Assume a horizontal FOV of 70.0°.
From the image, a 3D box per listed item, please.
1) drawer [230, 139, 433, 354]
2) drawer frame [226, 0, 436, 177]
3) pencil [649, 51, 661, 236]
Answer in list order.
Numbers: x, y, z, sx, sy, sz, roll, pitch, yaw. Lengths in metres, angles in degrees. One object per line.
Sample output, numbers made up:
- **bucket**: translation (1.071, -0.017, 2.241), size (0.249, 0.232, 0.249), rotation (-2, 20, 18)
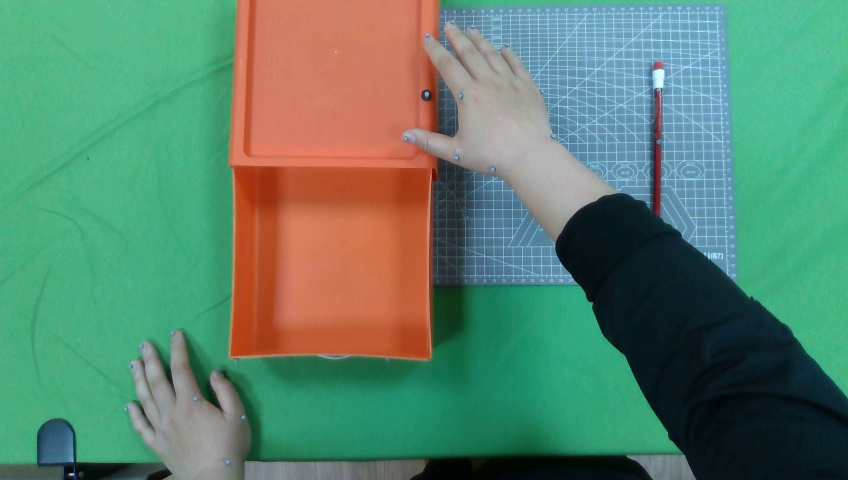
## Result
- **drawer**: translation (-0.088, 0.008, 0.608), size (0.194, 0.073, 0.211), rotation (0, 89, 2)
- **drawer frame**: translation (-0.088, -0.172, 0.614), size (0.201, 0.083, 0.213), rotation (0, 85, 3)
- **pencil**: translation (0.241, -0.101, 0.635), size (0.012, 0.012, 0.194), rotation (2, 89, 3)
